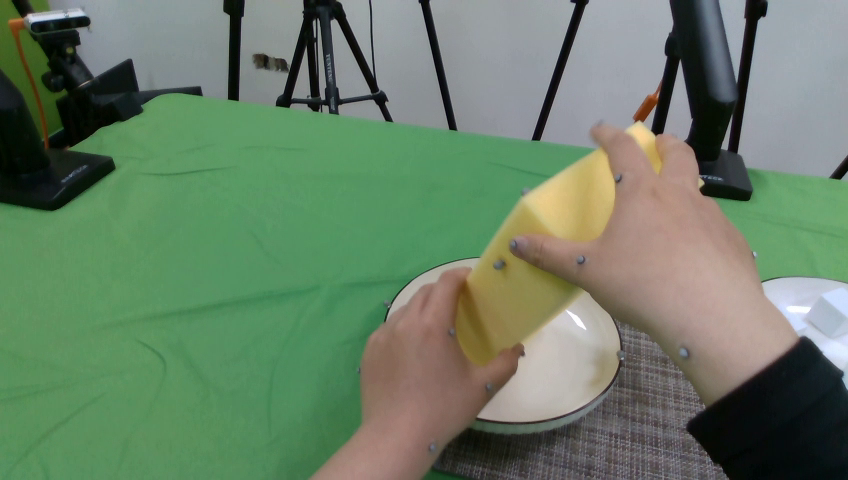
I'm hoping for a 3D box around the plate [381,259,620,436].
[{"bbox_3d":[0.066,0.093,0.541,0.209,0.038,0.207,1,35,0],"label":"plate"}]

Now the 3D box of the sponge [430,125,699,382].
[{"bbox_3d":[0.091,0.022,0.452,0.118,0.208,0.060,-32,74,-30],"label":"sponge"}]

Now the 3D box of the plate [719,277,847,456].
[{"bbox_3d":[0.363,0.112,0.525,0.208,0.039,0.205,1,36,0],"label":"plate"}]
